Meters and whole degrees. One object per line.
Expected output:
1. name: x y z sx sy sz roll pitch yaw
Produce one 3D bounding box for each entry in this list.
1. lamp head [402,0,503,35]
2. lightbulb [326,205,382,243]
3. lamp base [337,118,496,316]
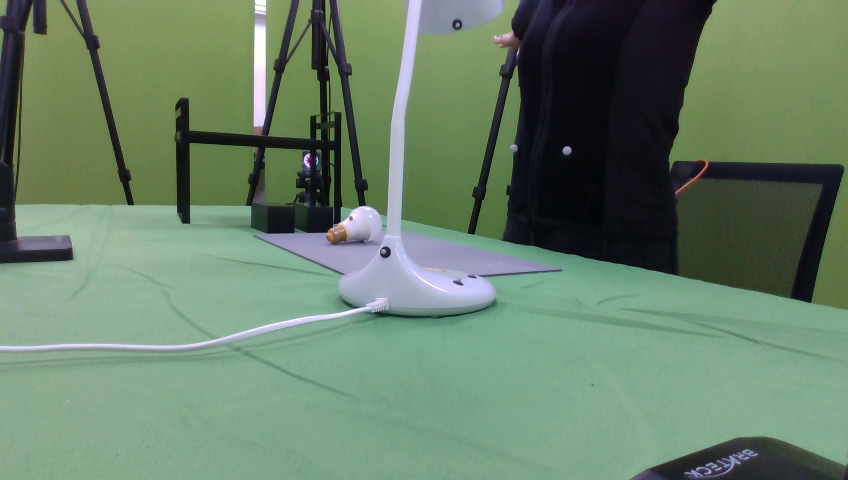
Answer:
1. lamp head: 0.021 -0.293 0.641 0.112 0.123 0.112 -9 44 9
2. lightbulb: -0.117 -0.021 0.999 0.059 0.059 0.108 10 25 43
3. lamp base: -0.008 -0.026 0.589 0.160 0.180 0.179 4 10 15
